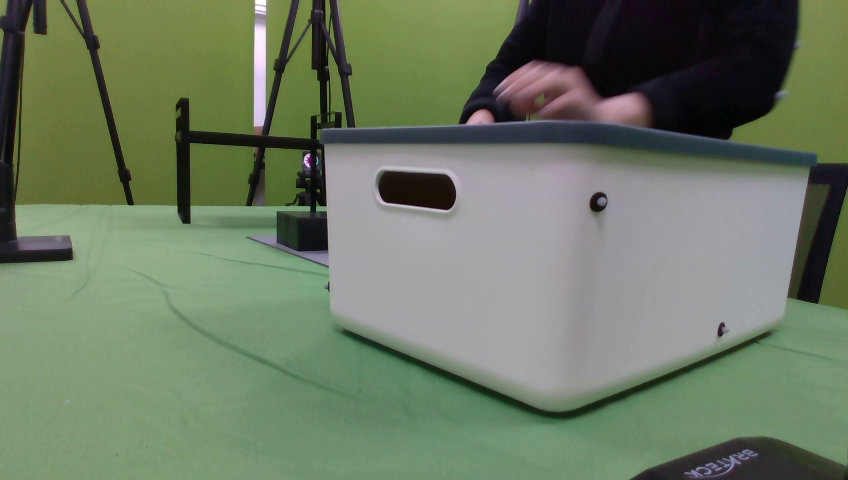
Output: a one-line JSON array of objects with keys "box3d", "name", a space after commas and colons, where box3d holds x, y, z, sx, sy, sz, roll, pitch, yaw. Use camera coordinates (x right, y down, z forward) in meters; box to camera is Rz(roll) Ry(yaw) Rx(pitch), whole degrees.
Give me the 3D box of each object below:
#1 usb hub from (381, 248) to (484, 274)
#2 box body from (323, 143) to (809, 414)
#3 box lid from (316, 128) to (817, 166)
[{"box3d": [0.011, 0.026, 0.775, 0.126, 0.025, 0.049, 0, 7, -26], "name": "usb hub"}, {"box3d": [0.124, -0.001, 0.510, 0.366, 0.160, 0.253, -4, 10, -42], "name": "box body"}, {"box3d": [0.128, -0.074, 0.501, 0.374, 0.015, 0.262, -5, 11, -41], "name": "box lid"}]
